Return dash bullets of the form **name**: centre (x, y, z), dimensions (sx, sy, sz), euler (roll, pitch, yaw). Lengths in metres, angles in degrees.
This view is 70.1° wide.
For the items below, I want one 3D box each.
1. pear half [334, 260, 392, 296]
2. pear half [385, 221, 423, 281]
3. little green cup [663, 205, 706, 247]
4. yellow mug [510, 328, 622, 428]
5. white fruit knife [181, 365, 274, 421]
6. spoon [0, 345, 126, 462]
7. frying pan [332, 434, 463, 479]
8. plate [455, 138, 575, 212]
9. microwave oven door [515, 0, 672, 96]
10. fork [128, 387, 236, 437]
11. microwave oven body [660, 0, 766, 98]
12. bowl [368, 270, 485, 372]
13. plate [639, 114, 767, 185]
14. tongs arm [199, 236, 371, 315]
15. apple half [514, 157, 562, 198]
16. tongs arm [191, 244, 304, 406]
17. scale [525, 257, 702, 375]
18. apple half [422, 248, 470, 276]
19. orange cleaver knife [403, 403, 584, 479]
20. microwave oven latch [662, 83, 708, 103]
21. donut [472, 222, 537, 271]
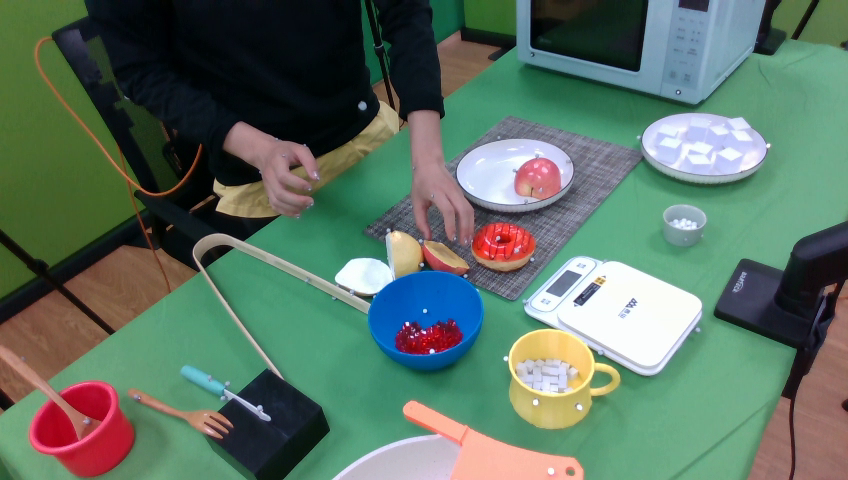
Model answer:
- **pear half**: centre (-0.092, 0.063, 0.907), dimensions (0.088, 0.031, 0.070), euler (-8, 40, -24)
- **pear half**: centre (-0.030, 0.013, 0.896), dimensions (0.056, 0.110, 0.076), euler (-16, 46, -11)
- **little green cup**: centre (0.396, -0.020, 0.926), dimensions (0.061, 0.039, 0.061), euler (-4, 40, 4)
- **yellow mug**: centre (0.168, 0.164, 0.722), dimensions (0.130, 0.064, 0.099), euler (0, 40, 8)
- **white fruit knife**: centre (-0.245, 0.187, 0.747), dimensions (0.205, 0.027, 0.016), euler (9, 41, 41)
- **spoon**: centre (-0.434, 0.192, 0.720), dimensions (0.194, 0.021, 0.042), euler (47, 53, -7)
- **frying pan**: centre (-0.089, 0.306, 0.564), dimensions (0.487, 0.103, 0.306), euler (10, 41, 7)
- **plate**: centre (0.159, -0.111, 1.063), dimensions (0.209, 0.038, 0.208), euler (-4, 40, 4)
- **microwave oven door**: centre (0.343, -0.455, 1.259), dimensions (0.353, 0.245, 0.039), euler (26, 51, 33)
- **fork**: centre (-0.305, 0.207, 0.744), dimensions (0.206, 0.019, 0.028), euler (3, 40, 36)
- **microwave oven body**: centre (0.472, -0.513, 1.317), dimensions (0.438, 0.261, 0.327), euler (26, 51, 34)
- **bowl**: centre (0.007, 0.119, 0.791), dimensions (0.151, 0.077, 0.150), euler (-5, 40, 4)
- **plate**: centre (0.489, -0.157, 1.074), dimensions (0.207, 0.039, 0.206), euler (-4, 40, 4)
- **tongs arm**: centre (-0.209, 0.062, 0.924), dimensions (0.381, 0.027, 0.051), euler (23, 54, 32)
- **apple half**: centre (0.196, -0.113, 1.032), dimensions (0.080, 0.053, 0.075), euler (16, 44, 30)
- **tongs arm**: centre (-0.268, 0.111, 0.883), dimensions (0.028, 0.028, 0.384), euler (-36, 47, -17)
- **scale**: centre (0.254, 0.091, 0.821), dimensions (0.199, 0.032, 0.149), euler (28, 51, 35)
- **apple half**: centre (0.024, 0.039, 0.911), dimensions (0.081, 0.033, 0.081), euler (21, 3, -1)
- **orange cleaver knife**: centre (0.062, 0.223, 0.610), dimensions (0.210, 0.012, 0.077), euler (15, 47, 25)
- **microwave oven latch**: centre (0.517, -0.296, 1.204), dimensions (0.078, 0.029, 0.030), euler (27, 52, 35)
- **donut**: centre (0.123, 0.009, 0.923), dimensions (0.099, 0.048, 0.098), euler (-3, 38, 3)
